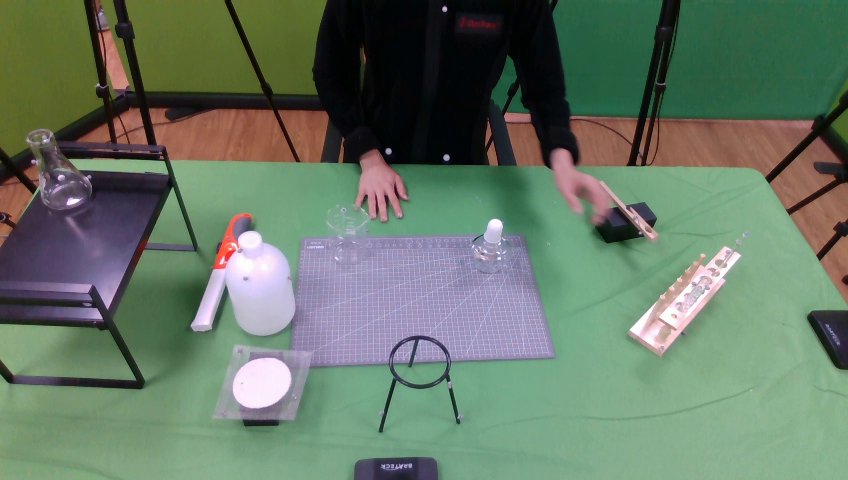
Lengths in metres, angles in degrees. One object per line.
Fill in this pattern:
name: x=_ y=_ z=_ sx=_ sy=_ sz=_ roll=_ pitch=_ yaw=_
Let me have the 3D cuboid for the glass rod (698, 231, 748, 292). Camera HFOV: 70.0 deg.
glass rod: x=0.514 y=0.044 z=1.051 sx=0.008 sy=0.200 sz=0.008 roll=1 pitch=55 yaw=-1

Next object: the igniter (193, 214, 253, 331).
igniter: x=-0.368 y=0.050 z=1.119 sx=0.057 sy=0.025 sz=0.275 roll=-3 pitch=46 yaw=8

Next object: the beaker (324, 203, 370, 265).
beaker: x=-0.142 y=-0.009 z=1.137 sx=0.084 sy=0.101 sz=0.073 roll=-3 pitch=47 yaw=-7

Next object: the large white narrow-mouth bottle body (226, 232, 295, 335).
large white narrow-mouth bottle body: x=-0.270 y=0.065 z=0.995 sx=0.102 sy=0.195 sz=0.101 roll=2 pitch=46 yaw=-2

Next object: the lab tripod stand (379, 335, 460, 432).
lab tripod stand: x=-0.011 y=0.214 z=0.911 sx=0.148 sy=0.132 sz=0.147 roll=1 pitch=45 yaw=0

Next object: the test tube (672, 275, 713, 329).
test tube: x=0.438 y=0.106 z=1.007 sx=0.017 sy=0.151 sz=0.017 roll=4 pitch=51 yaw=-4

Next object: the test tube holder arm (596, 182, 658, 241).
test tube holder arm: x=0.405 y=-0.061 z=1.218 sx=0.013 sy=0.015 sz=0.177 roll=-22 pitch=50 yaw=-18

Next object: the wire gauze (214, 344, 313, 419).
wire gauze: x=-0.241 y=0.213 z=0.915 sx=0.121 sy=0.011 sz=0.124 roll=5 pitch=46 yaw=1

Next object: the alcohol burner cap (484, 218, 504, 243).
alcohol burner cap: x=0.130 y=-0.021 z=1.106 sx=0.034 sy=0.048 sz=0.033 roll=3 pitch=51 yaw=-4

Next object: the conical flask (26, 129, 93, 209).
conical flask: x=-0.575 y=-0.113 z=0.946 sx=0.075 sy=0.122 sz=0.075 roll=2 pitch=46 yaw=-2

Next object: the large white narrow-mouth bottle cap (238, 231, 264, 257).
large white narrow-mouth bottle cap: x=-0.266 y=0.006 z=0.932 sx=0.038 sy=0.024 sz=0.037 roll=2 pitch=46 yaw=-2

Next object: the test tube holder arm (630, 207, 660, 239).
test tube holder arm: x=0.431 y=-0.034 z=1.192 sx=0.010 sy=0.015 sz=0.087 roll=-21 pitch=49 yaw=-17

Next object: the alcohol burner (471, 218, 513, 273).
alcohol burner: x=0.128 y=0.005 z=1.132 sx=0.078 sy=0.120 sz=0.077 roll=0 pitch=47 yaw=0

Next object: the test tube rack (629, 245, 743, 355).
test tube rack: x=0.474 y=0.095 z=1.091 sx=0.242 sy=0.085 sz=0.066 roll=-34 pitch=56 yaw=-31
